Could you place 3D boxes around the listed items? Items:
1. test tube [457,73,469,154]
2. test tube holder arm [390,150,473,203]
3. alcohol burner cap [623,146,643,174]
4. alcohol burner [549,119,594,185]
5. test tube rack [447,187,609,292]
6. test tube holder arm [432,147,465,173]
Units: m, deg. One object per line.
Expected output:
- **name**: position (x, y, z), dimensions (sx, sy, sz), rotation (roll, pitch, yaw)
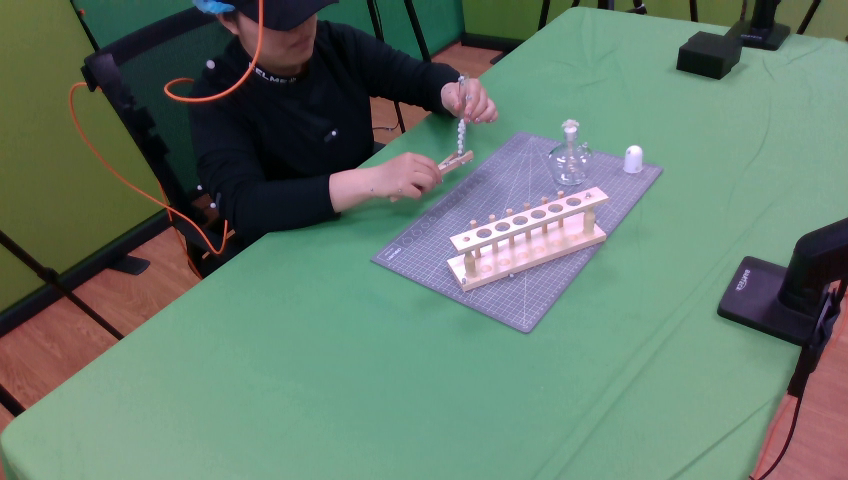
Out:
- **test tube**: position (0.065, -0.212, 1.029), dimensions (0.017, 0.151, 0.017), rotation (0, 40, 0)
- **test tube holder arm**: position (0.015, -0.111, 1.047), dimensions (0.179, 0.015, 0.013), rotation (-33, 40, -24)
- **alcohol burner cap**: position (0.369, -0.142, 1.061), dimensions (0.034, 0.048, 0.033), rotation (-7, 41, 6)
- **alcohol burner**: position (0.254, -0.155, 1.043), dimensions (0.078, 0.120, 0.077), rotation (-7, 40, 6)
- **test tube rack**: position (0.155, -0.011, 0.913), dimensions (0.243, 0.085, 0.066), rotation (-19, 41, -11)
- **test tube holder arm**: position (0.044, -0.137, 1.071), dimensions (0.010, 0.015, 0.088), rotation (19, 47, 35)
